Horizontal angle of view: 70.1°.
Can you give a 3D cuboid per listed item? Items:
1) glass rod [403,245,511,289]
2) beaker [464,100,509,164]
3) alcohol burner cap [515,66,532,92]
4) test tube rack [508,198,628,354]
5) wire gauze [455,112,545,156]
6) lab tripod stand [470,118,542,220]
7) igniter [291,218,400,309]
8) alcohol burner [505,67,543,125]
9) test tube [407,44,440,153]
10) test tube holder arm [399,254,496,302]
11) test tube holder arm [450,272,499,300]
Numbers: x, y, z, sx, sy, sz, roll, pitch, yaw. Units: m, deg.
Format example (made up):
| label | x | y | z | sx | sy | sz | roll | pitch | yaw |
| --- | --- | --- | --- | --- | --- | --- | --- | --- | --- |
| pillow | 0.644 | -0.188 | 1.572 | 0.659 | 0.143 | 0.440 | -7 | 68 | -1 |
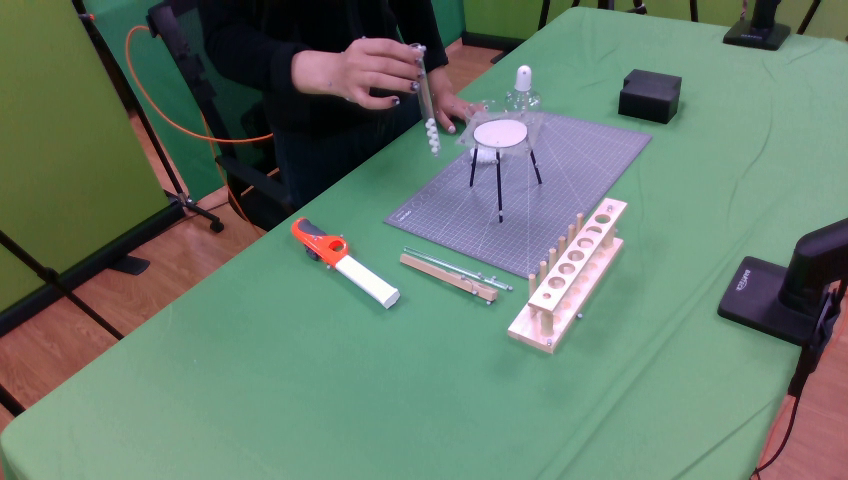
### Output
| label | x | y | z | sx | sy | sz | roll | pitch | yaw |
| --- | --- | --- | --- | --- | --- | --- | --- | --- | --- |
| glass rod | 0.047 | 0.040 | 0.939 | 0.198 | 0.008 | 0.008 | 21 | 49 | 30 |
| beaker | 0.120 | -0.200 | 1.134 | 0.083 | 0.101 | 0.074 | 5 | 43 | 16 |
| alcohol burner cap | 0.198 | -0.320 | 1.192 | 0.034 | 0.048 | 0.033 | 0 | 47 | 1 |
| test tube rack | 0.206 | 0.039 | 0.850 | 0.066 | 0.085 | 0.243 | 20 | 48 | 31 |
| wire gauze | 0.124 | -0.176 | 0.972 | 0.124 | 0.011 | 0.121 | 9 | 42 | 20 |
| lab tripod stand | 0.135 | -0.128 | 1.019 | 0.148 | 0.132 | 0.147 | -5 | 38 | 5 |
| igniter | -0.136 | 0.031 | 0.970 | 0.057 | 0.025 | 0.274 | -41 | 48 | -19 |
| alcohol burner | 0.201 | -0.293 | 1.216 | 0.078 | 0.119 | 0.077 | -4 | 41 | 4 |
| test tube | 0.001 | -0.181 | 0.792 | 0.017 | 0.151 | 0.017 | -9 | 35 | 7 |
| test tube holder arm | 0.032 | 0.054 | 0.914 | 0.177 | 0.015 | 0.013 | 21 | 16 | 32 |
| test tube holder arm | 0.071 | 0.068 | 0.895 | 0.087 | 0.015 | 0.010 | 21 | 16 | 32 |
